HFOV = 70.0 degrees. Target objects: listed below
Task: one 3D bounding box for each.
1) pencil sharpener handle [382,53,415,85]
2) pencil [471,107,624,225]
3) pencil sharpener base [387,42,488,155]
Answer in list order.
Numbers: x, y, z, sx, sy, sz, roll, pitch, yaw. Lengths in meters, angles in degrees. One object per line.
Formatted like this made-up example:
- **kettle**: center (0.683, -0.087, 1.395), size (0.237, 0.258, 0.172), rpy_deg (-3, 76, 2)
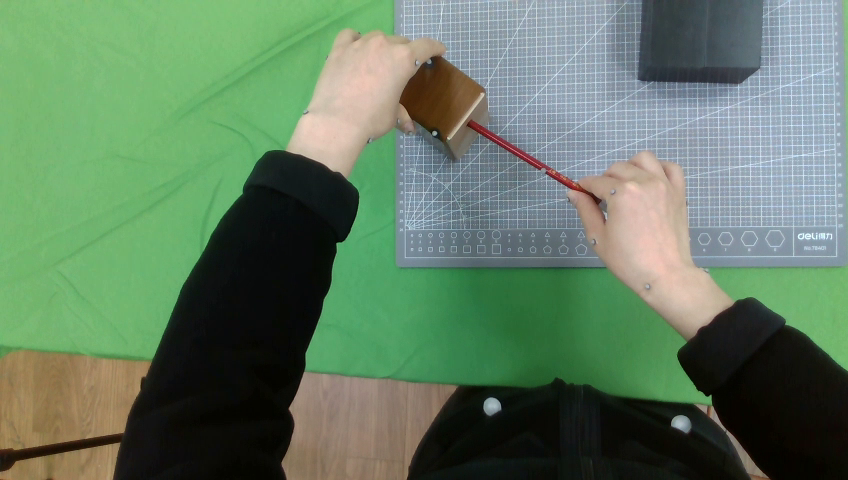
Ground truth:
- **pencil sharpener handle**: center (-0.029, -0.165, 0.585), size (0.030, 0.068, 0.036), rpy_deg (39, 80, 7)
- **pencil**: center (0.100, -0.076, 0.548), size (0.193, 0.012, 0.012), rpy_deg (39, 94, 8)
- **pencil sharpener base**: center (0.015, -0.135, 0.591), size (0.076, 0.107, 0.061), rpy_deg (39, 93, 7)
